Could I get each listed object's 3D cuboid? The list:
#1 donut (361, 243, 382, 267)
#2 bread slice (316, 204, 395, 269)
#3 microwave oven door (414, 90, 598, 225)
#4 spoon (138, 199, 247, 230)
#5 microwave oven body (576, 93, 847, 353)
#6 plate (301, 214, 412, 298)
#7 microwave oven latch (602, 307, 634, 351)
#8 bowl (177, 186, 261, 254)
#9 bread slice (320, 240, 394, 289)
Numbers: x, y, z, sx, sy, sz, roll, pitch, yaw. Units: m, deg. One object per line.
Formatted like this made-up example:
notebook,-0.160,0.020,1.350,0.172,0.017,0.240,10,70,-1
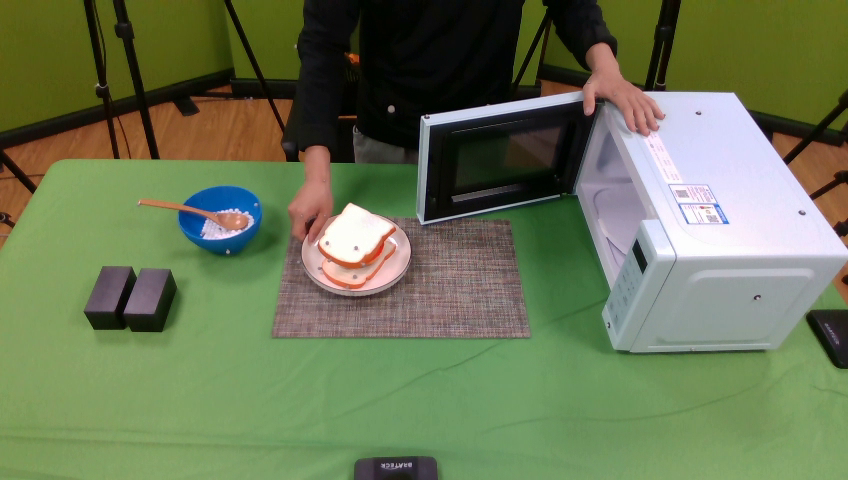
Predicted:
donut,-0.127,0.011,1.127,0.099,0.048,0.098,3,44,-2
bread slice,-0.128,-0.005,1.100,0.104,0.019,0.131,27,52,12
microwave oven door,0.158,-0.161,1.195,0.356,0.245,0.039,-12,48,-16
spoon,-0.431,-0.053,1.135,0.194,0.022,0.041,15,47,-21
microwave oven body,0.475,-0.041,1.109,0.326,0.261,0.438,-1,45,-4
plate,-0.127,0.031,1.145,0.208,0.039,0.206,2,46,-2
microwave oven latch,0.332,0.153,1.044,0.030,0.029,0.078,0,45,-4
bowl,-0.383,-0.026,1.158,0.151,0.077,0.150,2,46,-2
bread slice,-0.129,0.036,1.140,0.107,0.018,0.134,19,48,14
